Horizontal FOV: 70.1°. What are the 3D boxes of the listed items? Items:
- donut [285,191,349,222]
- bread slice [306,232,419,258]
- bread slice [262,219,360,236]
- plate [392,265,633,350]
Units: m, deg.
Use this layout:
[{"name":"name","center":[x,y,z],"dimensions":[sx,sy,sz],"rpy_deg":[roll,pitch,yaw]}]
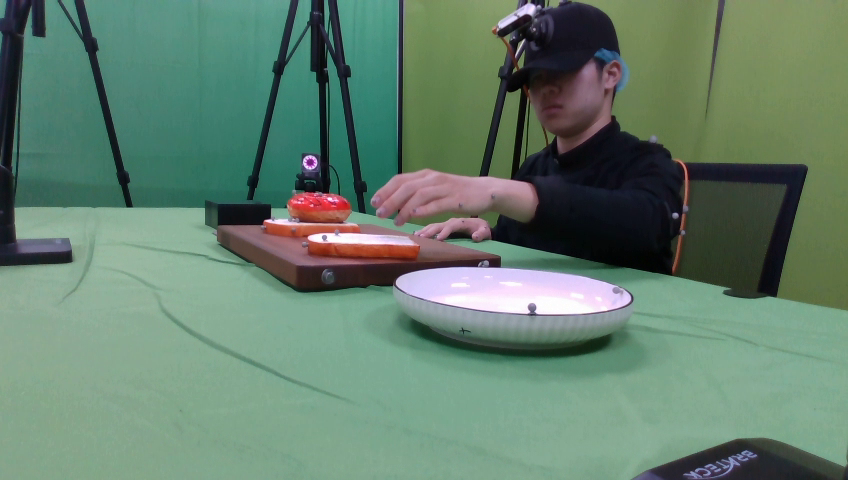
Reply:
[{"name":"donut","center":[-0.165,-0.051,0.936],"dimensions":[0.099,0.048,0.099],"rpy_deg":[4,9,0]},{"name":"bread slice","center":[-0.077,0.005,0.747],"dimensions":[0.135,0.018,0.106],"rpy_deg":[2,7,-12]},{"name":"bread slice","center":[-0.179,-0.021,0.931],"dimensions":[0.132,0.019,0.104],"rpy_deg":[-1,7,-35]},{"name":"plate","center":[0.075,0.057,0.533],"dimensions":[0.209,0.038,0.209],"rpy_deg":[3,7,0]}]
